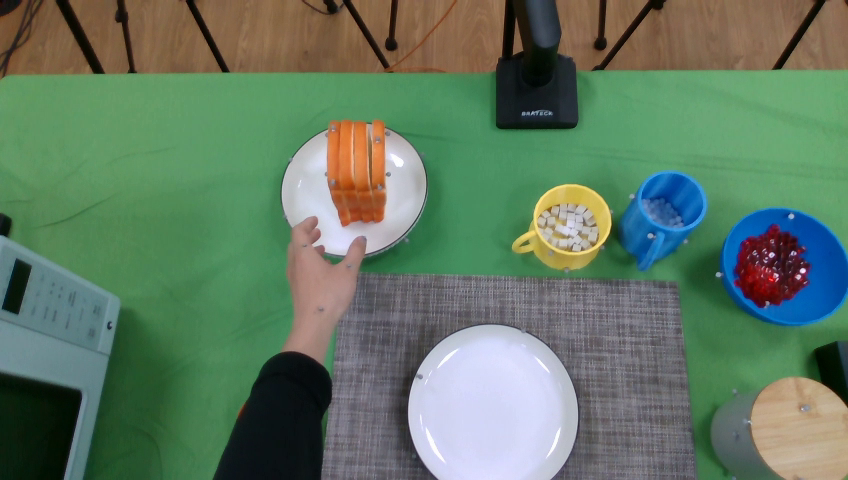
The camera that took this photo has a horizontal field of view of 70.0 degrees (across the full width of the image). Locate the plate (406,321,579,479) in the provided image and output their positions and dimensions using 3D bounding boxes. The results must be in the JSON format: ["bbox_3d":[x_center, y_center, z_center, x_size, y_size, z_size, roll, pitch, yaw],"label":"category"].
[{"bbox_3d":[0.082,0.204,0.743,0.209,0.038,0.207,-1,70,3],"label":"plate"}]

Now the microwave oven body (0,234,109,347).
[{"bbox_3d":[-0.585,0.231,0.653,0.326,0.262,0.438,1,71,4],"label":"microwave oven body"}]

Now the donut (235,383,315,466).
[{"bbox_3d":[-0.183,0.229,0.751,0.099,0.048,0.098,0,70,1],"label":"donut"}]

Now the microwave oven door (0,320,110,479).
[{"bbox_3d":[-0.442,0.272,0.624,0.039,0.245,0.353,1,70,4],"label":"microwave oven door"}]

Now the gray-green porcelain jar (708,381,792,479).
[{"bbox_3d":[0.388,0.214,0.679,0.106,0.127,0.105,-1,70,3],"label":"gray-green porcelain jar"}]

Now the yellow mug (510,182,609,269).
[{"bbox_3d":[0.175,-0.013,0.806,0.131,0.064,0.099,-20,69,-3],"label":"yellow mug"}]

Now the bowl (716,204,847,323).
[{"bbox_3d":[0.437,0.039,0.766,0.151,0.077,0.150,-1,70,4],"label":"bowl"}]

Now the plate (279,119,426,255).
[{"bbox_3d":[-0.100,-0.073,0.859,0.207,0.039,0.206,-1,70,3],"label":"plate"}]

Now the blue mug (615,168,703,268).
[{"bbox_3d":[0.295,-0.018,0.780,0.082,0.106,0.116,20,72,11],"label":"blue mug"}]

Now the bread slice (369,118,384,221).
[{"bbox_3d":[-0.064,-0.097,0.807,0.019,0.132,0.104,-1,71,-5],"label":"bread slice"}]

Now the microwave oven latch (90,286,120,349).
[{"bbox_3d":[-0.424,0.101,0.793,0.030,0.030,0.078,5,71,5],"label":"microwave oven latch"}]

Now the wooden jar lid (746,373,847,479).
[{"bbox_3d":[0.383,0.192,0.620,0.108,0.021,0.107,0,71,1],"label":"wooden jar lid"}]

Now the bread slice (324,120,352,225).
[{"bbox_3d":[-0.114,-0.096,0.809,0.018,0.135,0.106,-2,66,1],"label":"bread slice"}]
